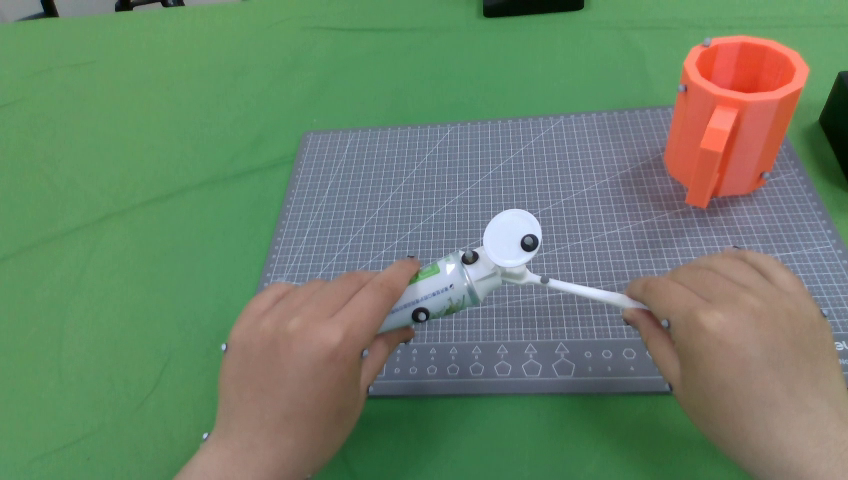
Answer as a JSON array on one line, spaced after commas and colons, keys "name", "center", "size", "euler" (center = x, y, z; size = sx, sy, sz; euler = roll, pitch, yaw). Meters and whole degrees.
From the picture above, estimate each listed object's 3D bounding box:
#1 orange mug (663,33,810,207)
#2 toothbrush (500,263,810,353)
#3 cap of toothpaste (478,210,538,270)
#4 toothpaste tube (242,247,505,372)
[{"name": "orange mug", "center": [0.235, -0.088, 0.475], "size": [0.083, 0.102, 0.126], "euler": [20, 51, 25]}, {"name": "toothbrush", "center": [0.127, 0.036, 0.357], "size": [0.181, 0.017, 0.014], "euler": [14, 55, 17]}, {"name": "cap of toothpaste", "center": [0.049, 0.001, 0.342], "size": [0.037, 0.011, 0.037], "euler": [-12, 66, 28]}, {"name": "toothpaste tube", "center": [-0.027, 0.045, 0.366], "size": [0.165, 0.055, 0.034], "euler": [-23, 82, 4]}]
